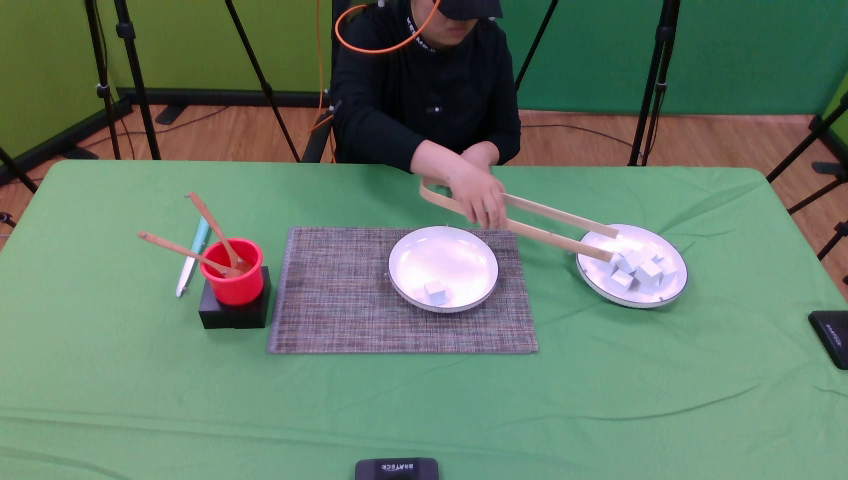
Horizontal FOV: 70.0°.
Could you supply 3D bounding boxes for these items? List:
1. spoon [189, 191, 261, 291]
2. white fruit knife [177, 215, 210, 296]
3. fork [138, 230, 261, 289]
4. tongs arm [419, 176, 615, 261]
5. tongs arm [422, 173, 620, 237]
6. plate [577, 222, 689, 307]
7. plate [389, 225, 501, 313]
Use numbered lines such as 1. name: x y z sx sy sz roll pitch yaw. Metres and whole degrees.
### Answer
1. spoon: -0.333 0.001 1.012 0.041 0.194 0.021 -34 15 -25
2. white fruit knife: -0.435 0.025 1.148 0.027 0.016 0.206 -18 45 18
3. fork: -0.359 0.032 0.981 0.208 0.018 0.028 31 60 -30
4. tongs arm: 0.167 -0.042 1.135 0.384 0.026 0.050 18 46 9
5. tongs arm: 0.182 -0.068 1.164 0.387 0.028 0.028 17 50 9
6. plate: 0.396 0.050 1.165 0.209 0.038 0.208 2 47 -2
7. plate: 0.038 0.057 1.129 0.208 0.039 0.206 2 46 -2
